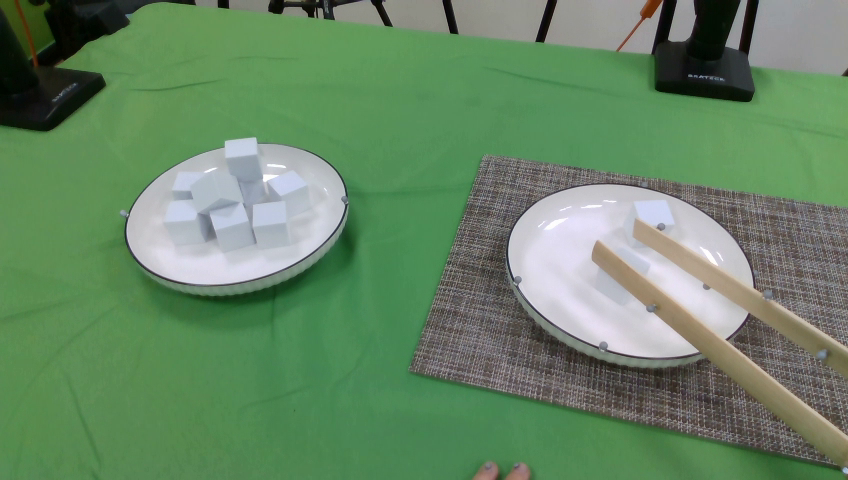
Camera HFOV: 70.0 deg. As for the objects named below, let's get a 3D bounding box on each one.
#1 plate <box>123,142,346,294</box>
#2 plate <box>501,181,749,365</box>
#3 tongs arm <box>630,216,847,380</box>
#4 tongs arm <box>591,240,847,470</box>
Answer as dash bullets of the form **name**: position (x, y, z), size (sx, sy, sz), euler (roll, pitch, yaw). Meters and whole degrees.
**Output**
- **plate**: position (-0.179, -0.022, 0.595), size (0.209, 0.038, 0.207), euler (0, 44, 0)
- **plate**: position (0.171, 0.026, 0.537), size (0.208, 0.039, 0.205), euler (0, 45, 1)
- **tongs arm**: position (0.277, 0.099, 0.394), size (0.051, 0.027, 0.380), euler (-32, 51, -24)
- **tongs arm**: position (0.253, 0.112, 0.384), size (0.028, 0.028, 0.383), euler (-27, 49, -25)
